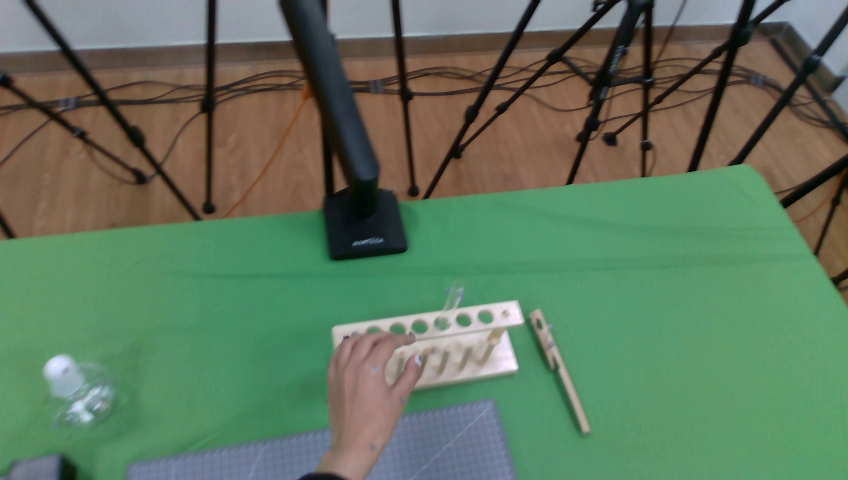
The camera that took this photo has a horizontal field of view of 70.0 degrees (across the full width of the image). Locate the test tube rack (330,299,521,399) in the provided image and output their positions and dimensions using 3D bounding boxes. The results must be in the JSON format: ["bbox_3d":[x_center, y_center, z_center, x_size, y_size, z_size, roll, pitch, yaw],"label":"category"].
[{"bbox_3d":[0.004,0.142,0.789,0.243,0.086,0.066,-7,56,-13],"label":"test tube rack"}]

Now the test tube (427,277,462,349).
[{"bbox_3d":[0.024,0.096,0.763,0.017,0.151,0.017,7,50,-8],"label":"test tube"}]

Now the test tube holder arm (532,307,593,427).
[{"bbox_3d":[0.188,0.171,0.833,0.013,0.015,0.176,-32,58,14],"label":"test tube holder arm"}]

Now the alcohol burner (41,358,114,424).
[{"bbox_3d":[-0.403,0.165,0.694,0.078,0.120,0.077,3,53,-3],"label":"alcohol burner"}]

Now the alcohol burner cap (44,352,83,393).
[{"bbox_3d":[-0.399,0.143,0.666,0.034,0.048,0.033,7,47,-7],"label":"alcohol burner cap"}]

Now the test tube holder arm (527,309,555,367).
[{"bbox_3d":[0.168,0.138,0.857,0.010,0.015,0.087,-31,58,15],"label":"test tube holder arm"}]
